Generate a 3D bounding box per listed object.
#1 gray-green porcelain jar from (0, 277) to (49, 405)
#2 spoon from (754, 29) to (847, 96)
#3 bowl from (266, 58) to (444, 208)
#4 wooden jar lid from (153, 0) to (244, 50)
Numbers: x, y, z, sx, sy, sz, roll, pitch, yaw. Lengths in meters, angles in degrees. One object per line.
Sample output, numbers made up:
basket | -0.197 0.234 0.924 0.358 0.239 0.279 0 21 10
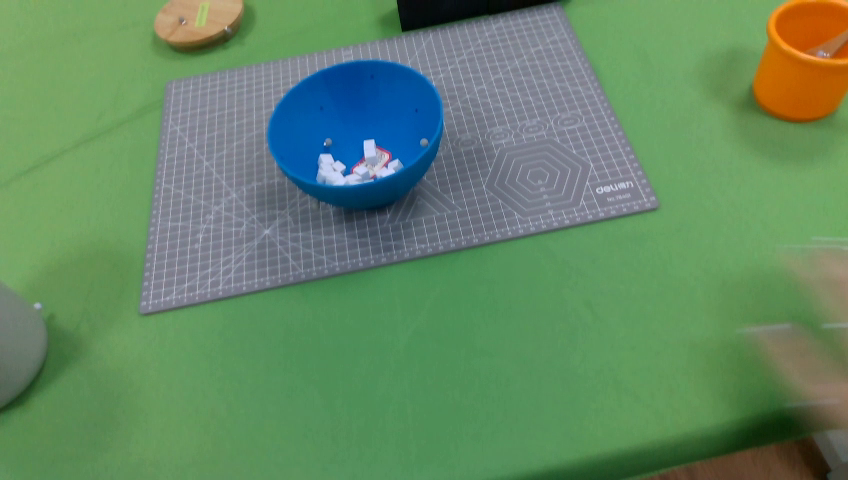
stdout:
gray-green porcelain jar | -0.359 0.066 0.448 0.106 0.128 0.105 -3 55 5
spoon | 0.378 -0.184 0.511 0.022 0.194 0.041 22 50 -32
bowl | -0.054 -0.081 0.535 0.151 0.077 0.150 -3 55 5
wooden jar lid | -0.268 -0.266 0.728 0.108 0.021 0.107 -2 56 3
